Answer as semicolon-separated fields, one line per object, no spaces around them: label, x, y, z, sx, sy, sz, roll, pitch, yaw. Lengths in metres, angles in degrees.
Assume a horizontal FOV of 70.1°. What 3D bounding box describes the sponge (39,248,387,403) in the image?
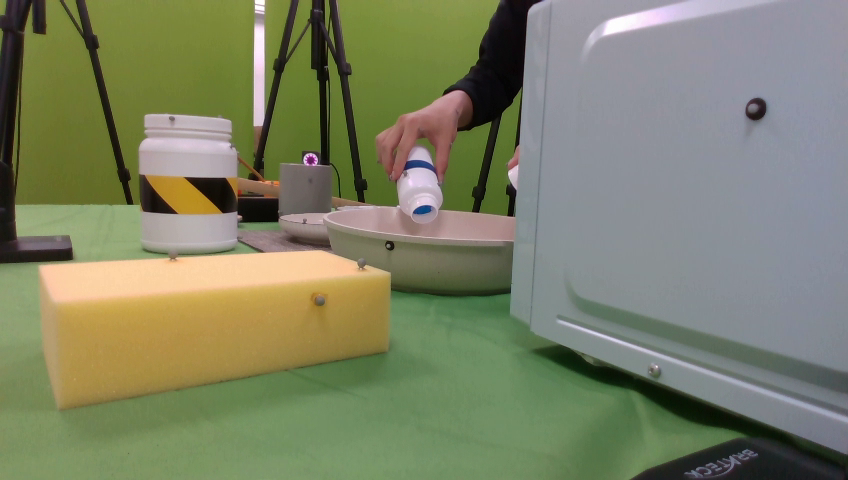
sponge;-0.142;0.047;0.420;0.208;0.061;0.117;-3;8;-37

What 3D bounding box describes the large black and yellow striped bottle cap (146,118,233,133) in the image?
large black and yellow striped bottle cap;-0.333;-0.163;0.861;0.115;0.019;0.115;1;9;0

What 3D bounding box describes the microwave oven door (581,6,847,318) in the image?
microwave oven door;0.295;-0.067;0.569;0.358;0.243;0.039;-3;8;-31

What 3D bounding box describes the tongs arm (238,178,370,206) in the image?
tongs arm;-0.241;-0.095;1.373;0.387;0.026;0.050;9;-1;-37

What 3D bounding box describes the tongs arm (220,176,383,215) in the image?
tongs arm;-0.285;-0.103;1.445;0.389;0.027;0.028;9;-4;-23

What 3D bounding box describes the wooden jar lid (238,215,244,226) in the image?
wooden jar lid;-0.404;-0.037;1.169;0.108;0.020;0.108;3;7;0

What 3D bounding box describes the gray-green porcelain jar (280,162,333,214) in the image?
gray-green porcelain jar;-0.238;-0.092;1.221;0.106;0.126;0.106;2;7;0

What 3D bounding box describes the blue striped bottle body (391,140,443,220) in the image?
blue striped bottle body;-0.009;-0.083;0.865;0.063;0.063;0.120;0;47;-15

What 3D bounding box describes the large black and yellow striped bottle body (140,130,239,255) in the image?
large black and yellow striped bottle body;-0.336;-0.078;0.871;0.131;0.184;0.130;2;8;0

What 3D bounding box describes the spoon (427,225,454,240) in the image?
spoon;0.024;-0.019;1.124;0.042;0.021;0.193;-17;10;-4

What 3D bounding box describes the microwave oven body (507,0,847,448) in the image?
microwave oven body;0.331;-0.042;0.425;0.444;0.260;0.324;-2;8;-31

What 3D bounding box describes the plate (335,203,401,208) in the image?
plate;-0.089;-0.053;1.309;0.208;0.039;0.207;2;8;0

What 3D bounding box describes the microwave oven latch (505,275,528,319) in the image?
microwave oven latch;0.100;0.042;0.471;0.079;0.029;0.030;-1;7;-28

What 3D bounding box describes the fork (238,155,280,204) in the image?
fork;-0.396;-0.143;1.486;0.028;0.018;0.208;20;-26;45

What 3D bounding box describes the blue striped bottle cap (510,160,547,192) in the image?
blue striped bottle cap;0.131;-0.080;0.757;0.045;0.020;0.044;17;35;-12

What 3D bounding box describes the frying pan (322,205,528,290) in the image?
frying pan;0.109;-0.017;0.799;0.490;0.102;0.305;-12;16;-30

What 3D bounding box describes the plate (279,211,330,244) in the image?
plate;-0.139;-0.022;1.021;0.209;0.038;0.209;2;8;0
